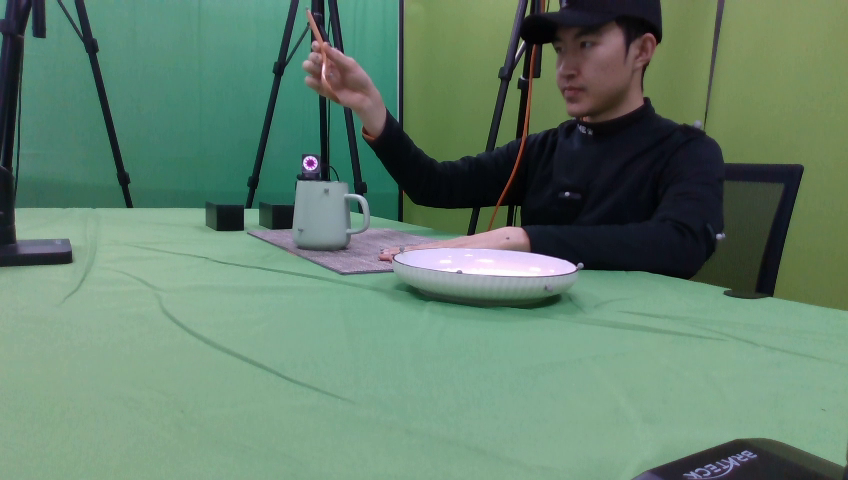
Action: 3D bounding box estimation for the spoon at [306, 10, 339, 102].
[{"bbox_3d":[-0.173,-0.314,1.025,0.021,0.193,0.042,-17,-20,6],"label":"spoon"}]

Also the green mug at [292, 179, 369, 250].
[{"bbox_3d":[-0.144,-0.040,0.944,0.125,0.105,0.093,4,7,16],"label":"green mug"}]

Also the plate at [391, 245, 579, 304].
[{"bbox_3d":[0.066,0.038,0.683,0.209,0.038,0.209,2,7,0],"label":"plate"}]
